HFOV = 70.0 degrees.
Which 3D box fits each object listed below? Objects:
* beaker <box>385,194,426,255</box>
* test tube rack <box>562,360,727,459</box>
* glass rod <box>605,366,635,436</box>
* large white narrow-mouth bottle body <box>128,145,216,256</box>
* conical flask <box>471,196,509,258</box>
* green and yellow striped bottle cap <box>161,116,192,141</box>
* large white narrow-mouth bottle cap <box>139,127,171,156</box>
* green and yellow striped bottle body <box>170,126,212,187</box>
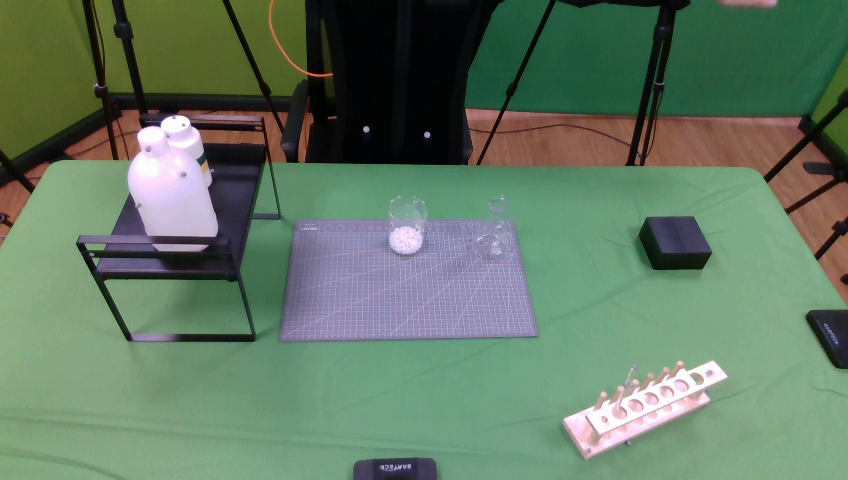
[{"bbox_3d":[-0.033,-0.026,1.162,0.083,0.101,0.074,29,51,21],"label":"beaker"},{"bbox_3d":[0.341,0.247,0.940,0.243,0.085,0.066,-16,49,-18],"label":"test tube rack"},{"bbox_3d":[0.276,0.233,0.857,0.008,0.201,0.008,-2,47,2],"label":"glass rod"},{"bbox_3d":[-0.366,-0.073,0.872,0.102,0.195,0.101,3,47,-3],"label":"large white narrow-mouth bottle body"},{"bbox_3d":[0.133,-0.028,1.160,0.075,0.122,0.075,2,46,-2],"label":"conical flask"},{"bbox_3d":[-0.387,-0.174,0.946,0.045,0.020,0.045,3,44,-3],"label":"green and yellow striped bottle cap"},{"bbox_3d":[-0.358,-0.132,0.808,0.038,0.024,0.037,3,47,-3],"label":"large white narrow-mouth bottle cap"},{"bbox_3d":[-0.389,-0.139,0.984,0.063,0.120,0.063,2,46,-2],"label":"green and yellow striped bottle body"}]
